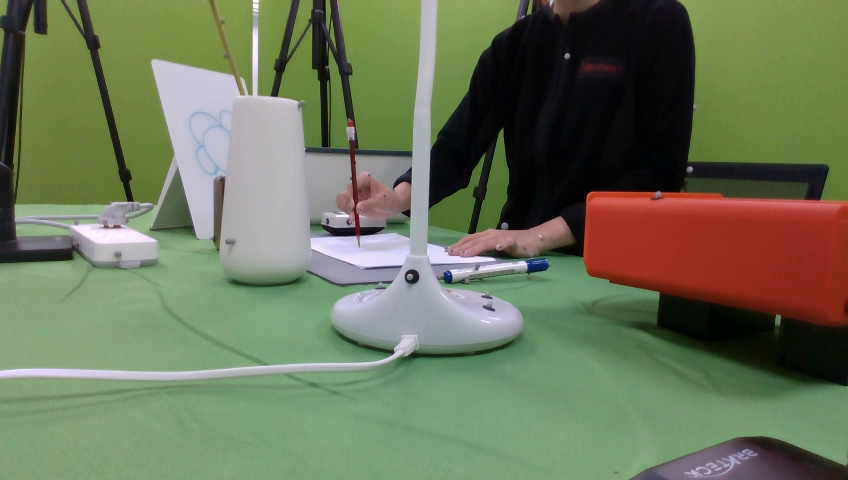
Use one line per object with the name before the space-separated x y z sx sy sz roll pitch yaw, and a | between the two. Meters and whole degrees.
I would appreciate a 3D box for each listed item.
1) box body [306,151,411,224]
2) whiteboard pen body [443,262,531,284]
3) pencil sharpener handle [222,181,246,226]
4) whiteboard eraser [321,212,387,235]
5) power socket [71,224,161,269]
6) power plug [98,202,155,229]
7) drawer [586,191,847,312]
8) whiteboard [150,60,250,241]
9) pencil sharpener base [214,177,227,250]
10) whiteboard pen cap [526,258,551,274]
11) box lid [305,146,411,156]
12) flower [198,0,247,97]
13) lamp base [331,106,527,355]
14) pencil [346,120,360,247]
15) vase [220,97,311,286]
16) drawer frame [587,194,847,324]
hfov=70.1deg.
box body | -0.230 -0.126 1.371 0.366 0.160 0.253 -2 8 -33
whiteboard pen body | 0.087 0.038 0.733 0.141 0.017 0.017 -5 10 -27
pencil sharpener handle | -0.289 -0.055 0.912 0.036 0.067 0.030 -3 9 -29
whiteboard eraser | -0.128 -0.031 1.108 0.113 0.042 0.055 -3 7 -38
power socket | -0.408 0.004 0.793 0.072 0.032 0.225 -2 8 -38
power plug | -0.416 -0.027 0.848 0.073 0.052 0.035 0 8 -28
drawer | 0.281 0.001 0.513 0.195 0.073 0.210 -1 8 -29
whiteboard | -0.408 -0.139 1.093 0.143 0.305 0.218 -15 -1 26
pencil sharpener base | -0.265 -0.036 0.870 0.061 0.107 0.076 -2 8 -29
whiteboard pen cap | 0.141 0.033 0.759 0.033 0.018 0.018 -7 11 -26
box lid | -0.229 -0.200 1.360 0.373 0.015 0.262 -3 9 -33
flower | -0.187 -0.133 0.648 0.038 0.362 0.044 -1 22 43
lamp base | 0.006 -0.012 0.478 0.161 0.180 0.179 2 10 2
pencil | -0.106 -0.085 0.920 0.012 0.194 0.012 -3 10 1
vase | -0.172 -0.052 0.662 0.098 0.200 0.098 3 8 0
drawer frame | 0.286 0.004 0.508 0.203 0.082 0.212 -1 6 -30
